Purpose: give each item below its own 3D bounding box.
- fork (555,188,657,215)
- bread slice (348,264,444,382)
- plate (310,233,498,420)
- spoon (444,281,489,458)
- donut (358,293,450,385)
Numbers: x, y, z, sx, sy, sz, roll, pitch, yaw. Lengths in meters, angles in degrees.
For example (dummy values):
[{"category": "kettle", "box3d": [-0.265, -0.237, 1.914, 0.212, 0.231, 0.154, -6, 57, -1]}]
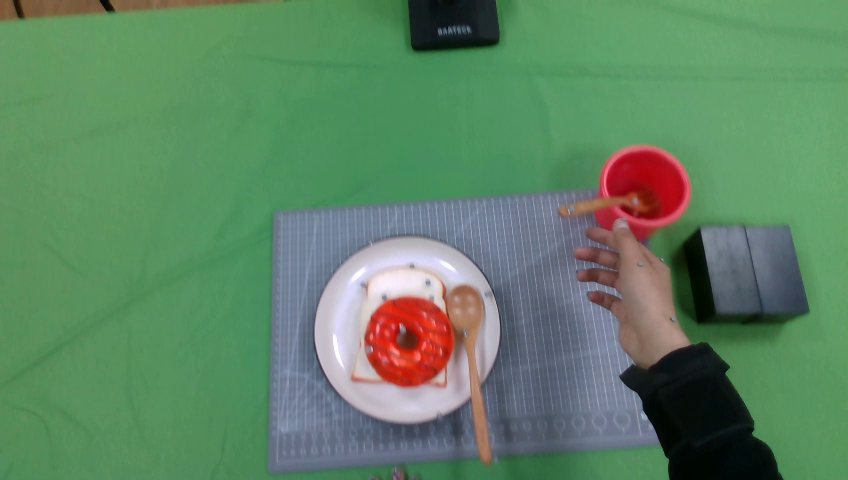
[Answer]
[{"category": "fork", "box3d": [0.203, -0.042, 0.663, 0.208, 0.018, 0.028, -8, 63, -47]}, {"category": "bread slice", "box3d": [-0.028, 0.091, 0.681, 0.105, 0.019, 0.130, 2, 72, 0]}, {"category": "plate", "box3d": [-0.022, 0.095, 0.677, 0.209, 0.038, 0.207, 0, 71, 1]}, {"category": "spoon", "box3d": [0.049, 0.133, 0.648, 0.041, 0.022, 0.192, -7, 58, 3]}, {"category": "donut", "box3d": [-0.021, 0.104, 0.645, 0.099, 0.048, 0.098, 1, 74, -2]}]
